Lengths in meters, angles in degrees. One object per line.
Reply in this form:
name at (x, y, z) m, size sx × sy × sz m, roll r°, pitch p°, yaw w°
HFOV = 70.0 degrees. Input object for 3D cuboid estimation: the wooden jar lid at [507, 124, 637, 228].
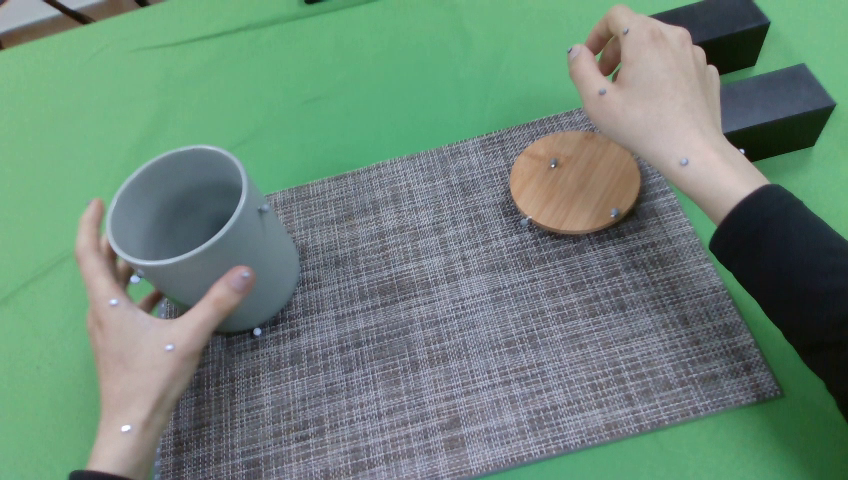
wooden jar lid at (0.126, -0.054, 0.522) m, size 0.108 × 0.021 × 0.107 m, roll -5°, pitch 59°, yaw 8°

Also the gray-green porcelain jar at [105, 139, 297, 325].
gray-green porcelain jar at (-0.166, 0.001, 0.480) m, size 0.106 × 0.128 × 0.105 m, roll -5°, pitch 57°, yaw 8°
